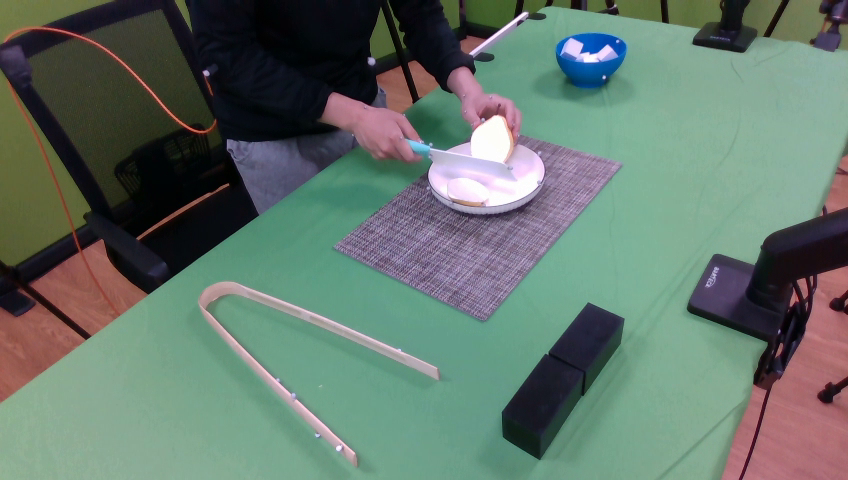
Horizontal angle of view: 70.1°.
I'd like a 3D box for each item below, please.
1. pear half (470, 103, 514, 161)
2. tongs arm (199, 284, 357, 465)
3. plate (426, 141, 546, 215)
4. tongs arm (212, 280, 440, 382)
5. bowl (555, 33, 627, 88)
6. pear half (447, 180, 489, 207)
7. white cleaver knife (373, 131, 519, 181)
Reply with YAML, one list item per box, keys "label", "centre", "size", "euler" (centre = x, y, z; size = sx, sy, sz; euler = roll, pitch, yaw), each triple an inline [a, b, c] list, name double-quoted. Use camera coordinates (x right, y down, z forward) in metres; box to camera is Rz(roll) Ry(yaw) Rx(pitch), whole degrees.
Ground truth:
- label: "pear half"
  centre: [0.125, -0.186, 1.061]
  size: [0.076, 0.110, 0.056]
  euler: [18, 21, 11]
- label: "tongs arm"
  centre: [-0.199, 0.162, 0.797]
  size: [0.381, 0.026, 0.051]
  euler: [28, 49, 35]
- label: "plate"
  centre: [0.109, -0.106, 1.058]
  size: [0.207, 0.039, 0.206]
  euler: [-4, 40, 4]
- label: "tongs arm"
  centre: [-0.148, 0.122, 0.846]
  size: [0.385, 0.028, 0.028]
  euler: [17, 48, 25]
- label: "bowl"
  centre: [0.360, -0.384, 1.317]
  size: [0.151, 0.077, 0.150]
  euler: [-4, 41, 4]
- label: "pear half"
  centre: [0.069, -0.072, 1.016]
  size: [0.070, 0.031, 0.088]
  euler: [29, 35, 34]
- label: "white cleaver knife"
  centre: [0.027, -0.138, 1.018]
  size: [0.284, 0.066, 0.021]
  euler: [19, 70, 32]
